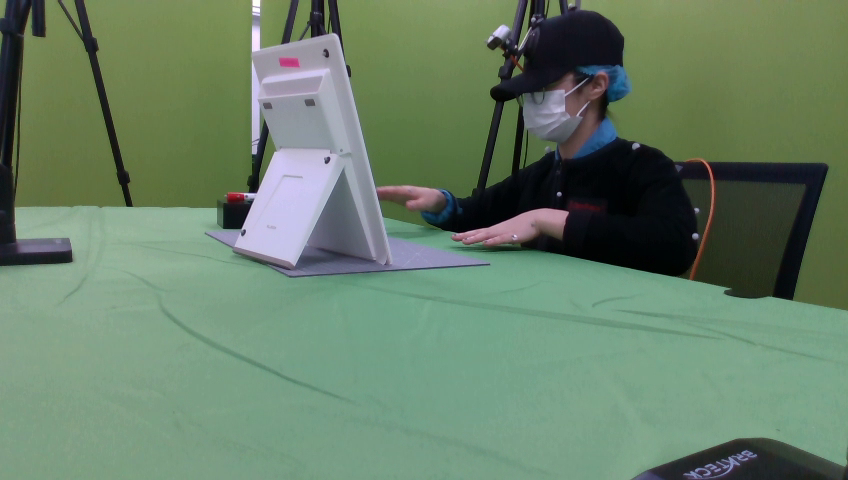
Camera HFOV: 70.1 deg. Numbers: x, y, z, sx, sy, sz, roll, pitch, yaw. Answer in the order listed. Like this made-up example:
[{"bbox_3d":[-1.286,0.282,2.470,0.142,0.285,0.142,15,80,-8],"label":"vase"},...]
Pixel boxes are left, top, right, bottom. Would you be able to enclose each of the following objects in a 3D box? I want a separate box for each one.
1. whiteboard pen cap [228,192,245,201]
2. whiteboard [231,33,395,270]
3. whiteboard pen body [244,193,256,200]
[{"bbox_3d":[-0.377,-0.088,1.217,0.032,0.017,0.017,0,7,-29],"label":"whiteboard pen cap"},{"bbox_3d":[-0.193,-0.094,0.805,0.144,0.305,0.216,-28,25,-35],"label":"whiteboard"},{"bbox_3d":[-0.327,-0.089,1.246,0.141,0.017,0.017,-1,8,-30],"label":"whiteboard pen body"}]
